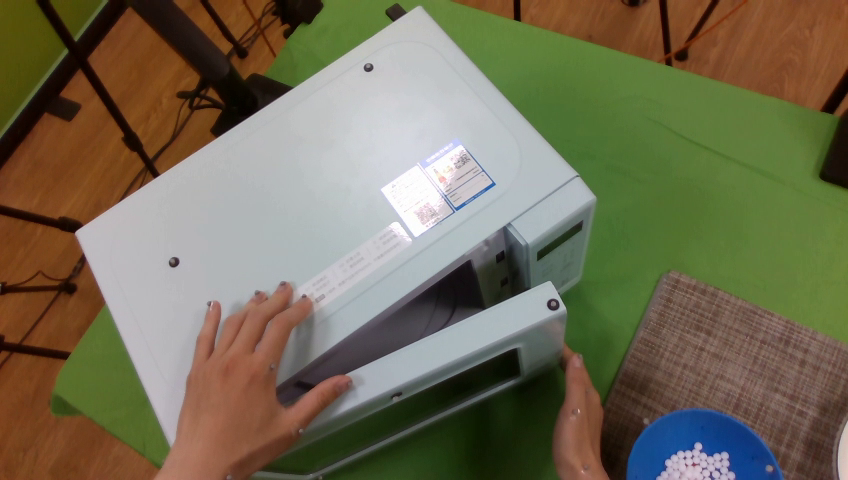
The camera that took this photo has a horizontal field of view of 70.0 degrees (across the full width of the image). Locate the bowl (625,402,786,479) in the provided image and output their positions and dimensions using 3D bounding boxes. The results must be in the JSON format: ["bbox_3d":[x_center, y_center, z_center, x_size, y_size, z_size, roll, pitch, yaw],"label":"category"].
[{"bbox_3d":[0.284,0.251,0.632,0.151,0.077,0.150,-4,67,9],"label":"bowl"}]

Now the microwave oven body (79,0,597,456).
[{"bbox_3d":[-0.084,0.007,0.700,0.441,0.262,0.323,-35,67,-4],"label":"microwave oven body"}]

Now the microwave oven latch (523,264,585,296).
[{"bbox_3d":[0.159,0.049,0.744,0.079,0.030,0.030,-34,67,-3],"label":"microwave oven latch"}]

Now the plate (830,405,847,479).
[{"bbox_3d":[0.524,0.241,0.614,0.207,0.039,0.206,-4,68,9],"label":"plate"}]

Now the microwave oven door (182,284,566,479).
[{"bbox_3d":[-0.023,0.162,0.621,0.356,0.246,0.039,-25,64,0],"label":"microwave oven door"}]
